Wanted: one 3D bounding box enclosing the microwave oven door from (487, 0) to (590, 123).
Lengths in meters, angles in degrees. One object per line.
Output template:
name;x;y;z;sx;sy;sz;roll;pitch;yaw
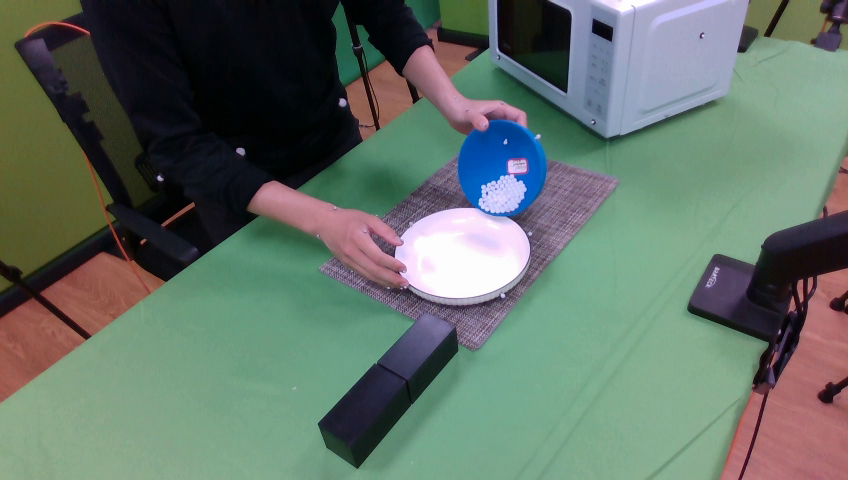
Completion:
microwave oven door;0.232;-0.420;1.230;0.039;0.245;0.352;-22;43;-16

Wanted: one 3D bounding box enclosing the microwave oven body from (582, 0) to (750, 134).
microwave oven body;0.382;-0.444;1.246;0.327;0.261;0.437;-22;42;-16

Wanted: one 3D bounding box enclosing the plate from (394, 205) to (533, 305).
plate;0.059;0.025;0.915;0.207;0.039;0.206;-4;41;4

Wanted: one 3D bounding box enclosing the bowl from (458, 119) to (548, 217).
bowl;0.136;-0.116;0.954;0.150;0.151;0.077;23;23;30

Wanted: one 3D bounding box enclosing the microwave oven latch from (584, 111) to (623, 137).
microwave oven latch;0.337;-0.222;1.142;0.030;0.029;0.078;-21;42;-14
